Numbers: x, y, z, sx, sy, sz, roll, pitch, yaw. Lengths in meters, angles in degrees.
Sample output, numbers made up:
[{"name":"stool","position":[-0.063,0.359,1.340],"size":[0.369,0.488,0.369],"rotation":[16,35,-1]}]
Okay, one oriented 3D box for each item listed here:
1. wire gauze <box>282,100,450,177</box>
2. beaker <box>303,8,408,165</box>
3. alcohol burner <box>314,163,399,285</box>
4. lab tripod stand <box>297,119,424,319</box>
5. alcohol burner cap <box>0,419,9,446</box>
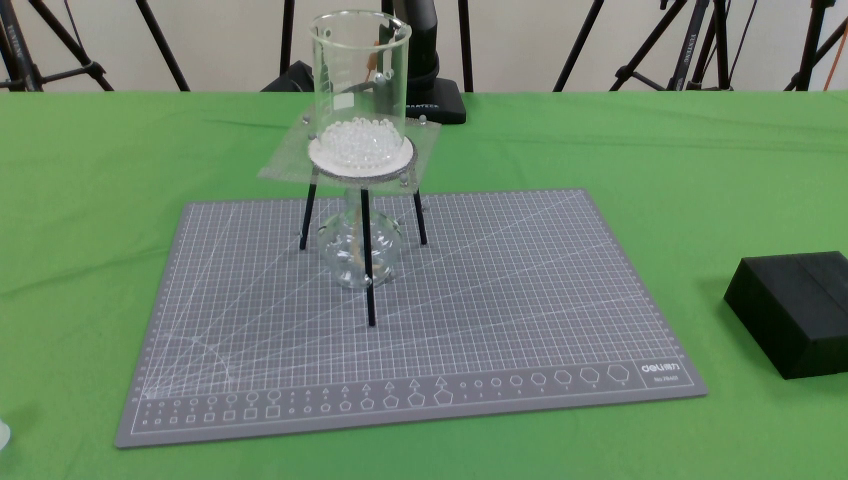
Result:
[{"name":"wire gauze","position":[-0.048,-0.085,0.480],"size":[0.125,0.011,0.120],"rotation":[0,36,-13]},{"name":"beaker","position":[-0.049,-0.117,0.467],"size":[0.084,0.101,0.073],"rotation":[-29,51,-34]},{"name":"alcohol burner","position":[-0.060,-0.018,0.542],"size":[0.078,0.120,0.077],"rotation":[4,38,-2]},{"name":"lab tripod stand","position":[-0.053,-0.026,0.537],"size":[0.148,0.132,0.147],"rotation":[4,40,-3]},{"name":"alcohol burner cap","position":[-0.309,0.123,0.410],"size":[0.034,0.048,0.033],"rotation":[4,39,-2]}]
